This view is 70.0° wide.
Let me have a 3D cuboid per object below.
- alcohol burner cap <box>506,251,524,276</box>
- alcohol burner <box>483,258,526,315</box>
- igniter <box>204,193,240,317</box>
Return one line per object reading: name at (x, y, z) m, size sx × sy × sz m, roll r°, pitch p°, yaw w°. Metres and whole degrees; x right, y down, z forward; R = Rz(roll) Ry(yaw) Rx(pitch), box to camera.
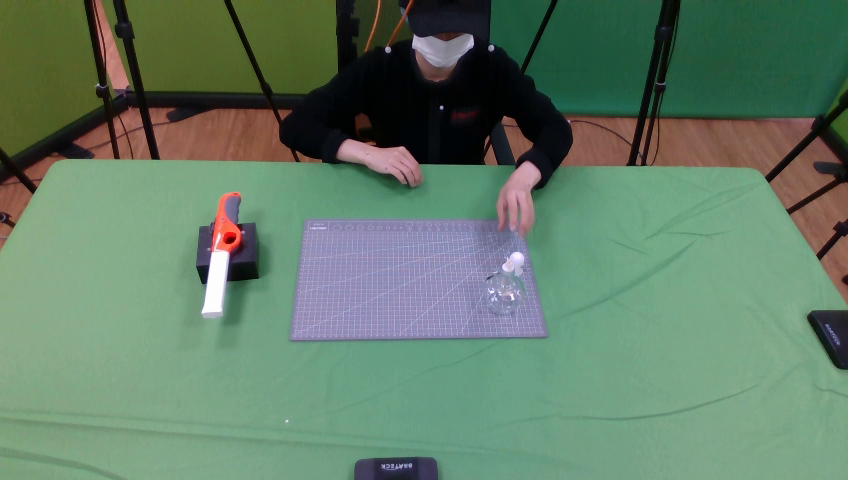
alcohol burner cap at (0.175, 0.043, 1.151) m, size 0.034 × 0.048 × 0.033 m, roll 1°, pitch 46°, yaw -1°
alcohol burner at (0.143, 0.076, 1.067) m, size 0.078 × 0.120 × 0.077 m, roll 1°, pitch 45°, yaw -1°
igniter at (-0.361, 0.017, 1.084) m, size 0.057 × 0.025 × 0.274 m, roll -3°, pitch 51°, yaw -6°
